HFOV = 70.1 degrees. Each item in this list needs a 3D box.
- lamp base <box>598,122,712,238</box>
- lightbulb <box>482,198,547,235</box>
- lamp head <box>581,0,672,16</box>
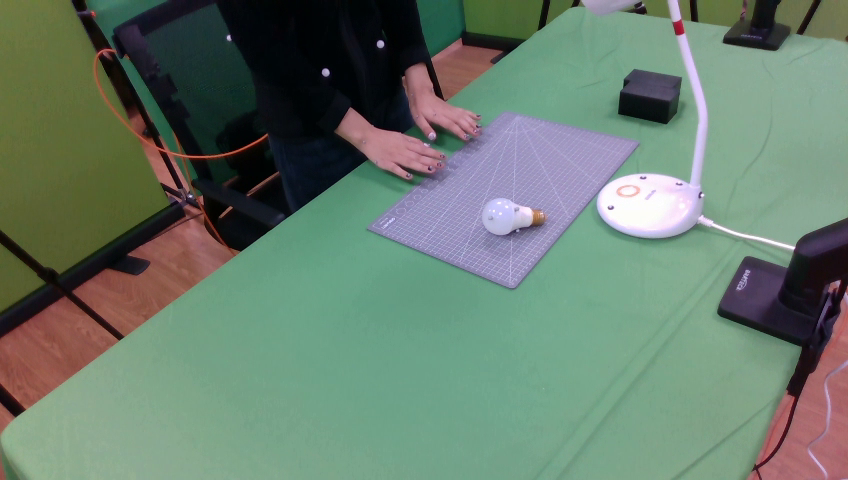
[{"bbox_3d":[0.365,-0.113,0.925,0.178,0.181,0.161,20,48,26],"label":"lamp base"},{"bbox_3d":[0.147,-0.037,0.974,0.108,0.059,0.059,1,39,-12],"label":"lightbulb"},{"bbox_3d":[0.261,-0.338,0.738,0.122,0.113,0.112,9,42,42],"label":"lamp head"}]
